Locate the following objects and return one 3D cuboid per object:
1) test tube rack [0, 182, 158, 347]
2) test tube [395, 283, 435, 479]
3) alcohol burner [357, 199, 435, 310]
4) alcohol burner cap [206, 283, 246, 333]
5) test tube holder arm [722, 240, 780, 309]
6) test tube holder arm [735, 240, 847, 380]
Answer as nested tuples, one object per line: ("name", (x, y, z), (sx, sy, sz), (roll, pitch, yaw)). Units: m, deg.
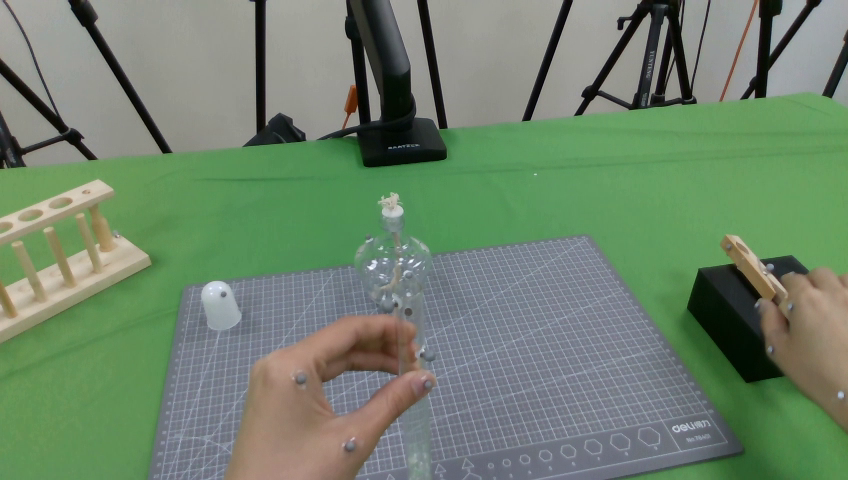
("test tube rack", (-0.397, 0.037, 0.586), (0.066, 0.086, 0.242), (26, 43, 32))
("test tube", (-0.003, 0.088, 0.335), (0.017, 0.151, 0.017), (-2, 32, 2))
("alcohol burner", (-0.027, 0.010, 0.590), (0.078, 0.120, 0.077), (1, 37, 0))
("alcohol burner cap", (-0.191, 0.062, 0.581), (0.034, 0.048, 0.033), (0, 36, 0))
("test tube holder arm", (0.304, 0.030, 0.560), (0.010, 0.015, 0.087), (-6, 37, -6))
("test tube holder arm", (0.317, 0.056, 0.525), (0.013, 0.015, 0.176), (-7, 37, -8))
